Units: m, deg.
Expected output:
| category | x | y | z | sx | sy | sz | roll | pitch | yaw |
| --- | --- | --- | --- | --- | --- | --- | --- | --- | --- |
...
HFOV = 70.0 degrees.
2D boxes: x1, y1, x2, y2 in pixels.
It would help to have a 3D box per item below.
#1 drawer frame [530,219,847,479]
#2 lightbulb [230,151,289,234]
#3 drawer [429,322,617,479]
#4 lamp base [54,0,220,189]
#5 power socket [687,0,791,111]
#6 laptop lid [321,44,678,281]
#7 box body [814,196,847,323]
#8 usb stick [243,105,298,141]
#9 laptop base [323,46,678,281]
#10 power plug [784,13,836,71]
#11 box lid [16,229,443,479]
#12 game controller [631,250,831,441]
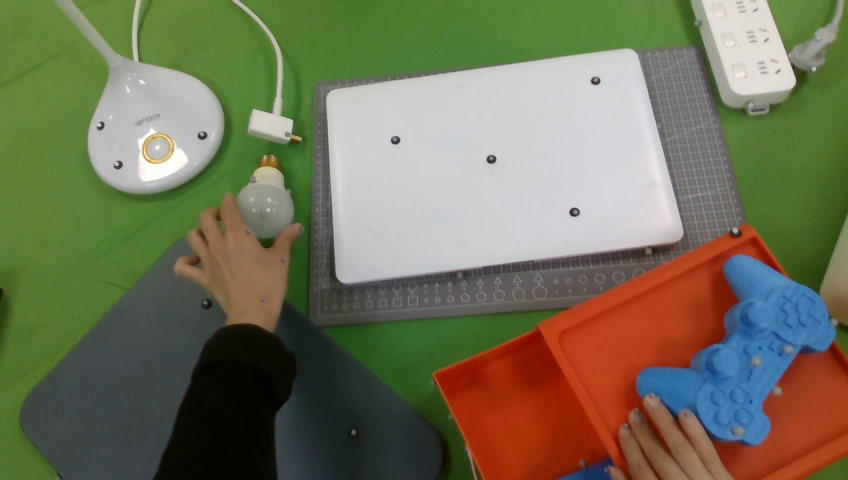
| category | x | y | z | sx | sy | sz | roll | pitch | yaw |
| --- | --- | --- | --- | --- | --- | --- | --- | --- | --- |
| drawer frame | 0.230 | 0.118 | 0.528 | 0.213 | 0.083 | 0.200 | -26 | 69 | -4 |
| lightbulb | -0.173 | -0.055 | 0.649 | 0.059 | 0.060 | 0.106 | -7 | 53 | 3 |
| drawer | 0.138 | 0.161 | 0.524 | 0.212 | 0.074 | 0.193 | -24 | 68 | -4 |
| lamp base | -0.329 | -0.169 | 0.635 | 0.160 | 0.181 | 0.177 | -32 | 67 | -7 |
| power socket | 0.347 | -0.250 | 0.685 | 0.072 | 0.033 | 0.225 | -6 | 68 | 2 |
| laptop lid | 0.069 | -0.089 | 0.643 | 0.357 | 0.013 | 0.240 | -6 | 71 | 3 |
| box body | 0.542 | -0.053 | 0.524 | 0.253 | 0.161 | 0.363 | 27 | 74 | 14 |
| usb stick | -0.170 | -0.129 | 0.681 | 0.059 | 0.021 | 0.027 | 16 | 73 | -24 |
| laptop base | 0.070 | -0.087 | 0.655 | 0.354 | 0.023 | 0.234 | -7 | 72 | 2 |
| power plug | 0.424 | -0.210 | 0.660 | 0.072 | 0.053 | 0.035 | -23 | 64 | -23 |
| box lid | -0.195 | 0.177 | 0.583 | 0.369 | 0.015 | 0.263 | 37 | 77 | 16 |
| game controller | 0.249 | 0.085 | 0.484 | 0.096 | 0.052 | 0.155 | 40 | 79 | 14 |
